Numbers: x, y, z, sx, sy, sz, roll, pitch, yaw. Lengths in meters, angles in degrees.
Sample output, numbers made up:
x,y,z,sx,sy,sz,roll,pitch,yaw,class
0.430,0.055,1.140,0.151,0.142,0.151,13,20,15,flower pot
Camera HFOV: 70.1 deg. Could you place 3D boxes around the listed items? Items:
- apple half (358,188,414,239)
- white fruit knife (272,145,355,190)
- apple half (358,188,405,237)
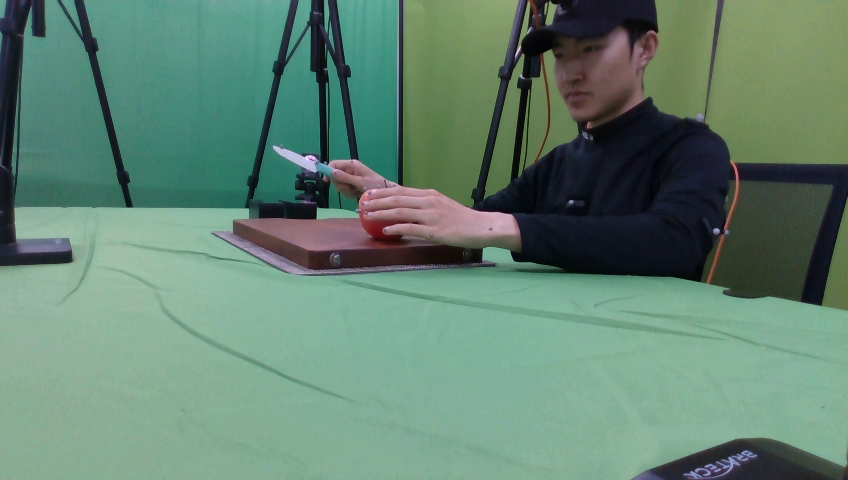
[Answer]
x,y,z,sx,sy,sz,roll,pitch,yaw,class
-0.049,-0.037,0.870,0.081,0.074,0.053,2,10,-31,apple half
-0.221,-0.150,1.236,0.016,0.027,0.208,-13,-26,41,white fruit knife
-0.069,-0.043,0.904,0.082,0.081,0.032,-2,10,-30,apple half
